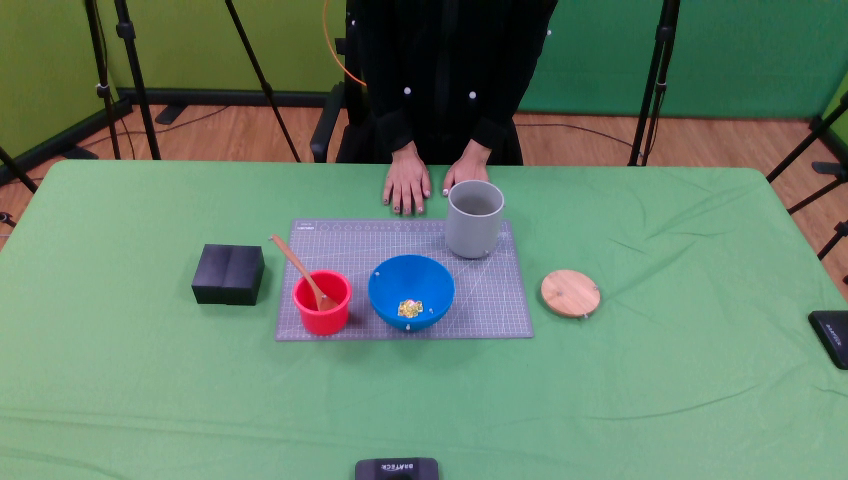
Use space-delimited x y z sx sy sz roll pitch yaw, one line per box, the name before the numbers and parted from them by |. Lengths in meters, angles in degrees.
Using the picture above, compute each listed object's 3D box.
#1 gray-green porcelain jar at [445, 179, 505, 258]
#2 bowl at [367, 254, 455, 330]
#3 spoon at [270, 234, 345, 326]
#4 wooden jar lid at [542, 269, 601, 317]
gray-green porcelain jar | 0.095 -0.037 1.162 0.106 0.127 0.105 2 46 -2
bowl | -0.023 0.104 1.053 0.151 0.077 0.150 2 46 -2
spoon | -0.198 0.067 1.031 0.041 0.021 0.194 -43 106 -39
wooden jar lid | 0.272 0.100 1.121 0.108 0.021 0.107 3 47 -3
